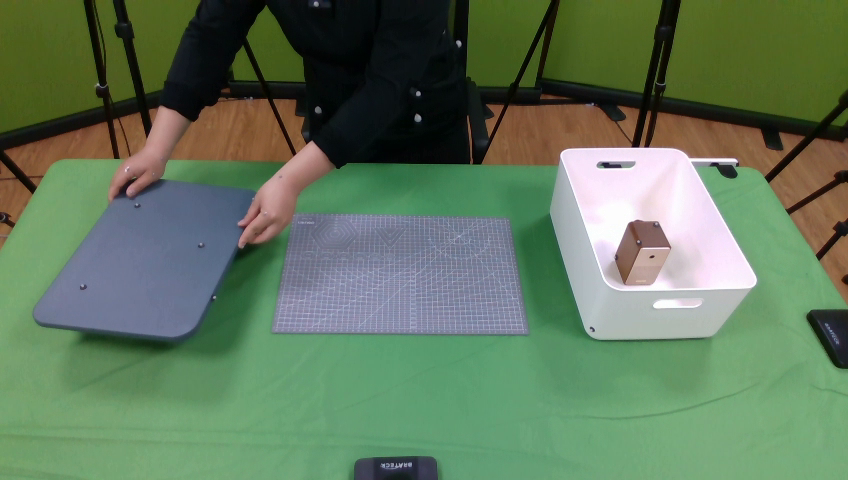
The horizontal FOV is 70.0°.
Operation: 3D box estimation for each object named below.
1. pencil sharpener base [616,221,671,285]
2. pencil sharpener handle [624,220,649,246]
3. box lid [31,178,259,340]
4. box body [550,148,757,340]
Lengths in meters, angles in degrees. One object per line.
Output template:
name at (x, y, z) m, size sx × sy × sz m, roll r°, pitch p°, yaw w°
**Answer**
pencil sharpener base at (0.408, 0.024, 1.136) m, size 0.061 × 0.107 × 0.076 m, roll -1°, pitch 45°, yaw -4°
pencil sharpener handle at (0.403, -0.020, 1.163) m, size 0.036 × 0.068 × 0.030 m, roll 5°, pitch 44°, yaw -10°
box lid at (-0.460, 0.017, 1.044) m, size 0.263 × 0.015 × 0.369 m, roll 6°, pitch 43°, yaw 3°
box body at (0.395, 0.003, 1.127) m, size 0.254 × 0.161 × 0.361 m, roll -1°, pitch 46°, yaw -5°
